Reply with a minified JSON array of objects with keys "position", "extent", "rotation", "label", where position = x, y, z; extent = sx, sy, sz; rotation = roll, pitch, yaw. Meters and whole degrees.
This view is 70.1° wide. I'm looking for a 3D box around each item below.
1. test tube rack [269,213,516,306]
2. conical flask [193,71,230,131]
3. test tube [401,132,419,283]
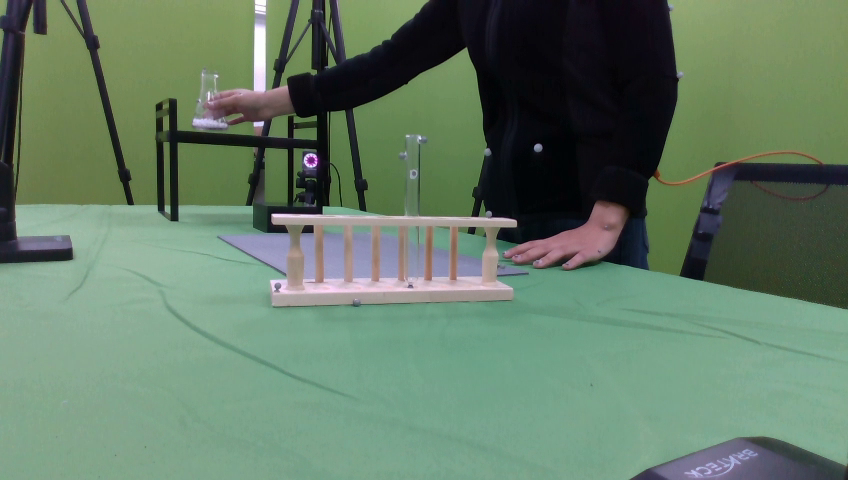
[{"position":[-0.032,0.015,0.617],"extent":[0.243,0.085,0.066],"rotation":[0,8,-17],"label":"test tube rack"},{"position":[-0.451,-0.294,1.282],"extent":[0.075,0.122,0.075],"rotation":[2,8,0],"label":"conical flask"},{"position":[-0.014,-0.031,0.596],"extent":[0.017,0.150,0.017],"rotation":[1,11,0],"label":"test tube"}]
